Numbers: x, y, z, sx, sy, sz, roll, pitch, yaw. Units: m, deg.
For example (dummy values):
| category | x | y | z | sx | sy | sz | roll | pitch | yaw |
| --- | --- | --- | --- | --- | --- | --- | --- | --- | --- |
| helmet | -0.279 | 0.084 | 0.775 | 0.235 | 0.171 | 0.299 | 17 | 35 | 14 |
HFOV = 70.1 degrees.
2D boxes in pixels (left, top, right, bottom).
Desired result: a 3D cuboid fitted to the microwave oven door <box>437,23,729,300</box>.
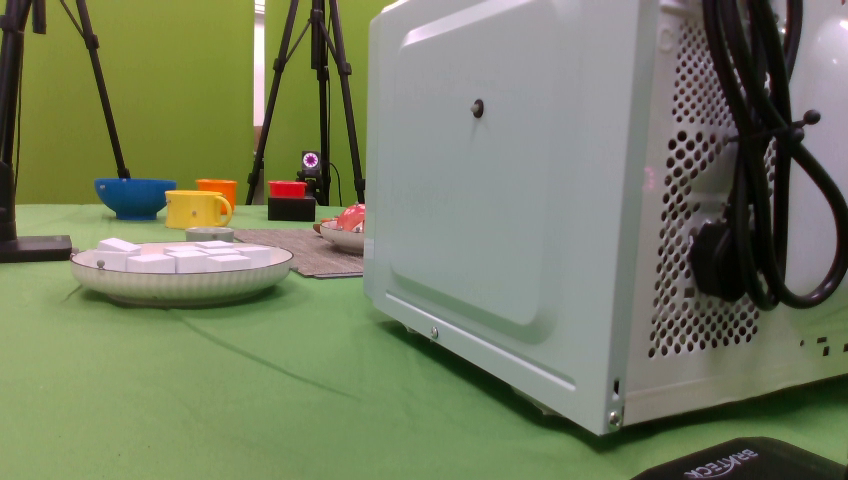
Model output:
| category | x | y | z | sx | sy | sz | roll | pitch | yaw |
| --- | --- | --- | --- | --- | --- | --- | --- | --- | --- |
| microwave oven door | 0.181 | -0.072 | 0.621 | 0.358 | 0.243 | 0.039 | -2 | 8 | -29 |

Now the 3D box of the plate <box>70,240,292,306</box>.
| category | x | y | z | sx | sy | sz | roll | pitch | yaw |
| --- | --- | --- | --- | --- | --- | --- | --- | --- | --- |
| plate | -0.242 | 0.032 | 0.618 | 0.208 | 0.039 | 0.207 | 2 | 8 | 0 |

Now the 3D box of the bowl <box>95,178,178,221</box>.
| category | x | y | z | sx | sy | sz | roll | pitch | yaw |
| --- | --- | --- | --- | --- | --- | --- | --- | --- | --- |
| bowl | -0.576 | -0.081 | 1.217 | 0.151 | 0.077 | 0.151 | 4 | 8 | 0 |

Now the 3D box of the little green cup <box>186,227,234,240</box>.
| category | x | y | z | sx | sy | sz | roll | pitch | yaw |
| --- | --- | --- | --- | --- | --- | --- | --- | --- | --- |
| little green cup | -0.284 | 0.005 | 0.805 | 0.061 | 0.038 | 0.061 | 2 | 8 | 0 |

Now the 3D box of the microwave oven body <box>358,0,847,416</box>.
| category | x | y | z | sx | sy | sz | roll | pitch | yaw |
| --- | --- | --- | --- | --- | --- | --- | --- | --- | --- |
| microwave oven body | 0.211 | -0.047 | 0.474 | 0.444 | 0.260 | 0.324 | -1 | 7 | -28 |

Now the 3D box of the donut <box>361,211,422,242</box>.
| category | x | y | z | sx | sy | sz | roll | pitch | yaw |
| --- | --- | --- | --- | --- | --- | --- | --- | --- | --- |
| donut | -0.051 | -0.020 | 0.958 | 0.099 | 0.048 | 0.099 | 5 | 7 | 0 |

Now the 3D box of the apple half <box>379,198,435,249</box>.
| category | x | y | z | sx | sy | sz | roll | pitch | yaw |
| --- | --- | --- | --- | --- | --- | --- | --- | --- | --- |
| apple half | -0.020 | -0.030 | 0.891 | 0.081 | 0.053 | 0.074 | -2 | 49 | -26 |

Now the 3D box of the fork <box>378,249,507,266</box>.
| category | x | y | z | sx | sy | sz | roll | pitch | yaw |
| --- | --- | --- | --- | --- | --- | --- | --- | --- | --- |
| fork | 0.031 | 0.022 | 0.819 | 0.208 | 0.018 | 0.028 | -5 | 4 | -33 |

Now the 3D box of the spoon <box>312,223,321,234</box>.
| category | x | y | z | sx | sy | sz | roll | pitch | yaw |
| --- | --- | --- | --- | --- | --- | --- | --- | --- | --- |
| spoon | -0.112 | -0.022 | 1.095 | 0.195 | 0.021 | 0.041 | -4 | -16 | -38 |

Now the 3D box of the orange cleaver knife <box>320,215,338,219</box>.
| category | x | y | z | sx | sy | sz | roll | pitch | yaw |
| --- | --- | --- | --- | --- | --- | --- | --- | --- | --- |
| orange cleaver knife | -0.142 | -0.057 | 1.394 | 0.077 | 0.012 | 0.212 | 2 | 7 | 44 |

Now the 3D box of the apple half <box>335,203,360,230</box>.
| category | x | y | z | sx | sy | sz | roll | pitch | yaw |
| --- | --- | --- | --- | --- | --- | --- | --- | --- | --- |
| apple half | -0.116 | -0.038 | 0.960 | 0.081 | 0.033 | 0.081 | -38 | 8 | 7 |

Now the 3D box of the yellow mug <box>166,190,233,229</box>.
| category | x | y | z | sx | sy | sz | roll | pitch | yaw |
| --- | --- | --- | --- | --- | --- | --- | --- | --- | --- |
| yellow mug | -0.415 | -0.057 | 1.132 | 0.130 | 0.064 | 0.100 | 6 | 8 | 16 |

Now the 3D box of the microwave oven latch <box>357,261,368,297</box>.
| category | x | y | z | sx | sy | sz | roll | pitch | yaw |
| --- | --- | --- | --- | --- | --- | --- | --- | --- | --- |
| microwave oven latch | -0.019 | 0.033 | 0.531 | 0.079 | 0.029 | 0.030 | -1 | 7 | -27 |

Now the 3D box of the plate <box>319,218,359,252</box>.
| category | x | y | z | sx | sy | sz | roll | pitch | yaw |
| --- | --- | --- | --- | --- | --- | --- | --- | --- | --- |
| plate | -0.059 | -0.007 | 0.939 | 0.209 | 0.038 | 0.209 | 3 | 8 | 0 |
